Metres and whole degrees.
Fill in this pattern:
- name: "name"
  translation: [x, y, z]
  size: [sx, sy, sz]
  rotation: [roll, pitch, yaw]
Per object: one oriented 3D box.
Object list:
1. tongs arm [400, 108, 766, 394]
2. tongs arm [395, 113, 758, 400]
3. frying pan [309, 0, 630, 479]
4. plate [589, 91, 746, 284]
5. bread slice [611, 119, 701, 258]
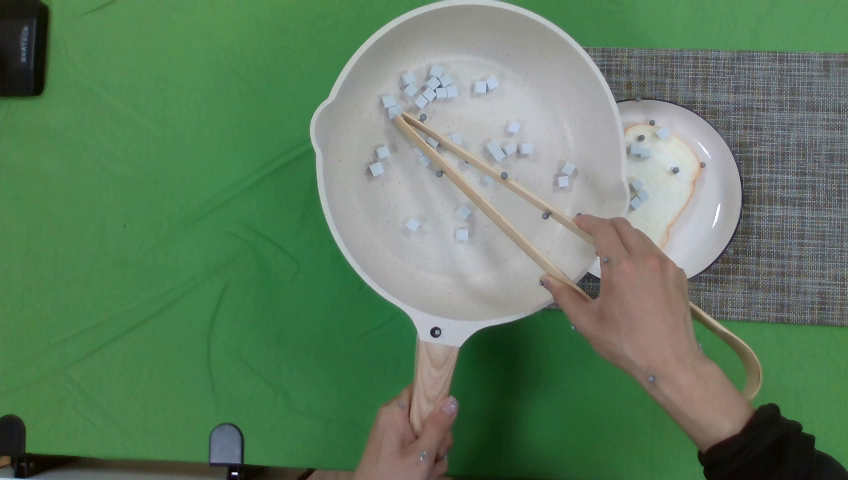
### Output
- name: "tongs arm"
  translation: [0.123, 0.001, 0.530]
  size: [0.383, 0.027, 0.050]
  rotation: [34, 80, 12]
- name: "tongs arm"
  translation: [0.116, 0.009, 0.528]
  size: [0.385, 0.028, 0.028]
  rotation: [42, 78, 13]
- name: "frying pan"
  translation: [0.025, 0.031, 0.560]
  size: [0.308, 0.102, 0.486]
  rotation: [12, 84, -13]
- name: "plate"
  translation: [0.237, -0.055, 0.663]
  size: [0.207, 0.039, 0.207]
  rotation: [0, 87, 5]
- name: "bread slice"
  translation: [0.235, -0.064, 0.665]
  size: [0.107, 0.018, 0.134]
  rotation: [26, 92, 5]
